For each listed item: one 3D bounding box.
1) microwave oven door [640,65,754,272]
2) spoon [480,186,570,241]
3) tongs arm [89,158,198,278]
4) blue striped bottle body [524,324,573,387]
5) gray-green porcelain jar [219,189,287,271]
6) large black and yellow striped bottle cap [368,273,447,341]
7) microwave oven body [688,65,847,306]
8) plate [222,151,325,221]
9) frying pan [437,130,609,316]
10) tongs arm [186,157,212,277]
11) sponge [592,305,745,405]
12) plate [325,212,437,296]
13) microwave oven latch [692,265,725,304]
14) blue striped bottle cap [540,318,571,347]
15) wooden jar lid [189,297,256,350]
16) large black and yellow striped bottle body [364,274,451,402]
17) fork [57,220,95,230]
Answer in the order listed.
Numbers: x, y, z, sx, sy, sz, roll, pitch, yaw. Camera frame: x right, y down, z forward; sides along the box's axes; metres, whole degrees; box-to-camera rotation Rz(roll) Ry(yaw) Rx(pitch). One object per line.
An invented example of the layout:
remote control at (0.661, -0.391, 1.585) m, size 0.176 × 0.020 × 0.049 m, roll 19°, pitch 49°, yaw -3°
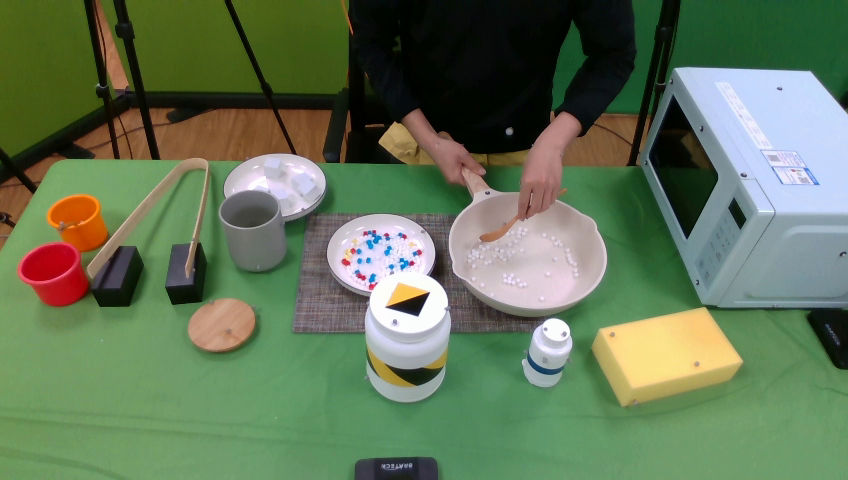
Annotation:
microwave oven door at (0.524, -0.148, 1.193) m, size 0.039 × 0.245 × 0.353 m, roll 0°, pitch 47°, yaw -3°
spoon at (0.191, -0.052, 1.146) m, size 0.194 × 0.042 × 0.021 m, roll -34°, pitch 64°, yaw -2°
tongs arm at (-0.529, -0.058, 1.164) m, size 0.028 × 0.028 × 0.385 m, roll 1°, pitch 36°, yaw 8°
blue striped bottle body at (0.200, 0.178, 0.970) m, size 0.063 × 0.121 × 0.062 m, roll 2°, pitch 46°, yaw -2°
gray-green porcelain jar at (-0.310, -0.014, 1.113) m, size 0.106 × 0.127 × 0.105 m, roll 2°, pitch 46°, yaw -2°
large black and yellow striped bottle cap at (-0.023, 0.094, 0.875) m, size 0.115 × 0.019 × 0.114 m, roll 2°, pitch 45°, yaw -2°
microwave oven body at (0.669, -0.111, 1.176) m, size 0.326 × 0.261 × 0.439 m, roll 0°, pitch 46°, yaw -3°
plate at (-0.310, -0.106, 1.263) m, size 0.208 × 0.039 × 0.206 m, roll 2°, pitch 47°, yaw -2°
frying pan at (0.147, -0.052, 1.186) m, size 0.307 × 0.103 × 0.485 m, roll -18°, pitch 59°, yaw -19°
tongs arm at (-0.445, -0.058, 1.168) m, size 0.051 × 0.026 × 0.382 m, roll -5°, pitch 37°, yaw -6°
sponge at (0.405, 0.190, 1.014) m, size 0.207 × 0.061 × 0.117 m, roll -10°, pitch 48°, yaw -13°
plate at (-0.080, 0.030, 1.143) m, size 0.209 × 0.038 × 0.208 m, roll 3°, pitch 46°, yaw -2°
microwave oven latch at (0.522, 0.081, 1.116) m, size 0.030 × 0.029 × 0.078 m, roll 1°, pitch 46°, yaw -2°
blue striped bottle cap at (0.203, 0.142, 0.933) m, size 0.044 × 0.021 × 0.044 m, roll 3°, pitch 49°, yaw -3°
wooden jar lid at (-0.342, 0.145, 1.033) m, size 0.108 × 0.021 × 0.107 m, roll 2°, pitch 45°, yaw -2°
large black and yellow striped bottle body at (-0.026, 0.151, 0.937) m, size 0.131 × 0.185 × 0.130 m, roll 2°, pitch 47°, yaw -2°
fork at (-0.624, -0.027, 1.086) m, size 0.028 × 0.207 × 0.018 m, roll -3°, pitch 92°, yaw -17°
